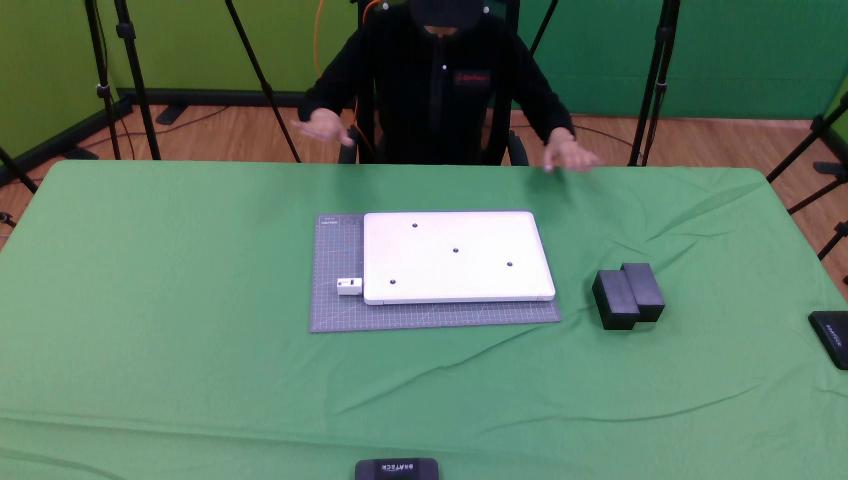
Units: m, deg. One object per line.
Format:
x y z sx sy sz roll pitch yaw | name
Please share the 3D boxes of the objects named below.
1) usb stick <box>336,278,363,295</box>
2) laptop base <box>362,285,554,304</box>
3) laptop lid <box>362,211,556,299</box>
-0.128 0.083 1.094 0.059 0.027 0.021 2 44 -5 | usb stick
0.059 0.032 1.174 0.355 0.023 0.234 -1 43 -5 | laptop base
0.059 0.022 1.168 0.357 0.013 0.240 0 44 -4 | laptop lid
